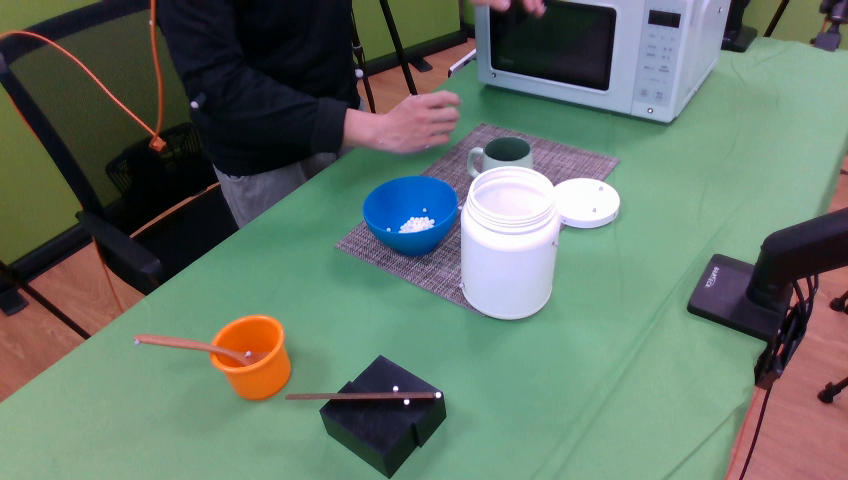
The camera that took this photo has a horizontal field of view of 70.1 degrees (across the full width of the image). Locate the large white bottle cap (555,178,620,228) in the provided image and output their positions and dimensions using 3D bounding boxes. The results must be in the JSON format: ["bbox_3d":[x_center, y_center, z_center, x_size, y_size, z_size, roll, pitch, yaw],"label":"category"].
[{"bbox_3d":[0.265,-0.063,1.001,0.115,0.018,0.114,-3,42,3],"label":"large white bottle cap"}]

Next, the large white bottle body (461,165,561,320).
[{"bbox_3d":[0.115,0.004,0.815,0.130,0.185,0.130,-2,43,2],"label":"large white bottle body"}]

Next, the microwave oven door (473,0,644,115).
[{"bbox_3d":[0.257,-0.396,1.199,0.353,0.245,0.039,21,48,29],"label":"microwave oven door"}]

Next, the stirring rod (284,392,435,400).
[{"bbox_3d":[-0.075,0.180,0.698,0.176,0.006,0.014,-2,6,7],"label":"stirring rod"}]

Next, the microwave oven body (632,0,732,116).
[{"bbox_3d":[0.377,-0.462,1.267,0.438,0.261,0.327,21,48,30],"label":"microwave oven body"}]

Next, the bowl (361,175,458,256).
[{"bbox_3d":[-0.019,-0.028,0.955,0.151,0.077,0.150,-4,40,4],"label":"bowl"}]

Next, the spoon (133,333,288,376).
[{"bbox_3d":[-0.257,0.137,0.747,0.021,0.195,0.041,-48,40,22],"label":"spoon"}]

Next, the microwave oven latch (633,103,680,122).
[{"bbox_3d":[0.444,-0.249,1.157,0.078,0.029,0.030,21,48,30],"label":"microwave oven latch"}]

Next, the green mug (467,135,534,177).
[{"bbox_3d":[0.127,-0.114,1.014,0.124,0.105,0.093,22,49,30],"label":"green mug"}]
